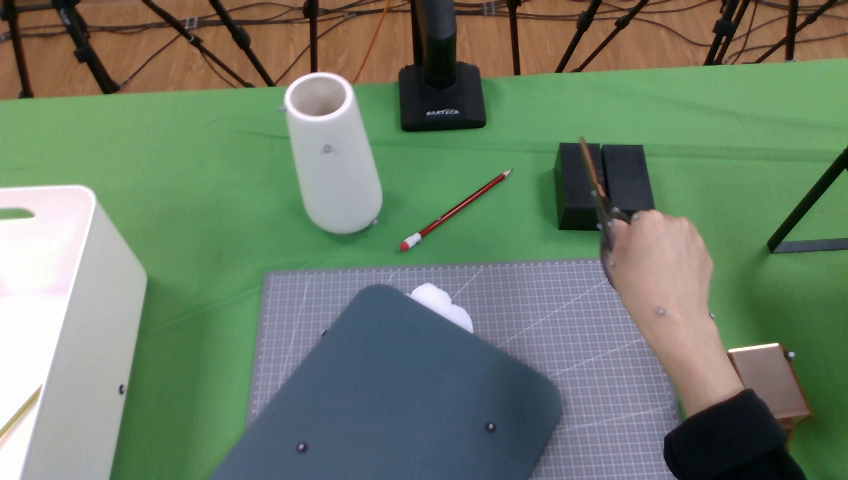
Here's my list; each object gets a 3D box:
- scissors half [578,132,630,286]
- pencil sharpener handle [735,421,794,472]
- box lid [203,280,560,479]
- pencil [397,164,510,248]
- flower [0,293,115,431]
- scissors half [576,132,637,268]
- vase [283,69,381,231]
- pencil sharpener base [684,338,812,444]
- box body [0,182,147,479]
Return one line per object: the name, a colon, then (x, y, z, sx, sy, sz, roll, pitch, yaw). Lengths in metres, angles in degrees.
scissors half: (0.169, -0.034, 0.591, 0.013, 0.040, 0.173, -4, 65, -6)
pencil sharpener handle: (0.311, 0.188, 0.549, 0.036, 0.068, 0.030, 1, 58, -15)
box lid: (-0.054, 0.227, 0.600, 0.262, 0.015, 0.370, 29, 64, 17)
pencil: (0.042, -0.047, 0.770, 0.194, 0.012, 0.012, -37, 64, -21)
flower: (-0.439, 0.181, 0.648, 0.038, 0.044, 0.359, -12, 34, 22)
scissors half: (0.169, -0.046, 0.574, 0.013, 0.040, 0.173, -8, 48, -1)
vase: (-0.105, -0.097, 0.691, 0.098, 0.202, 0.097, -1, 57, 2)
pencil sharpener base: (0.309, 0.152, 0.586, 0.061, 0.108, 0.076, -6, 59, -3)
box body: (-0.435, 0.141, 0.571, 0.254, 0.162, 0.360, -4, 59, -1)
